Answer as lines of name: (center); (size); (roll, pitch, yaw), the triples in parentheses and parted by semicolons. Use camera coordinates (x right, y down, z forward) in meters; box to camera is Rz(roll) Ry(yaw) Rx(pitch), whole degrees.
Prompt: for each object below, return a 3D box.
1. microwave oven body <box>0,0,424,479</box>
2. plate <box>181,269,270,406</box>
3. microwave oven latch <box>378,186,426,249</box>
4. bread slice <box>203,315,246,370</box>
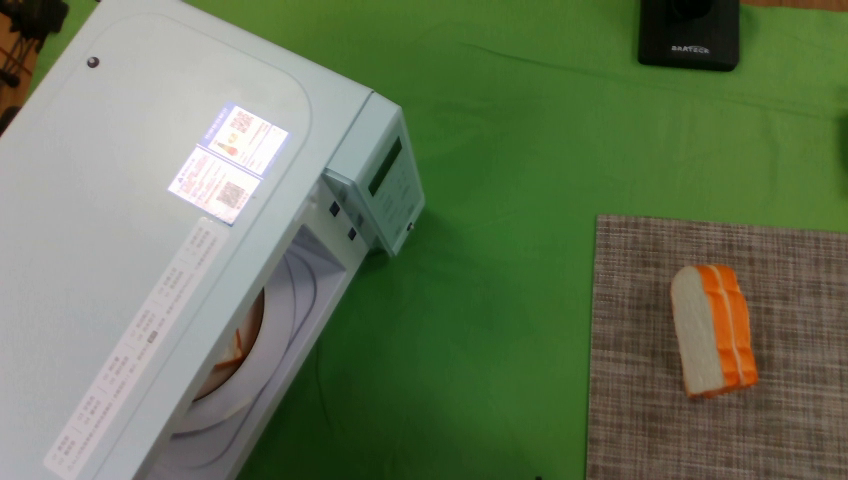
microwave oven body: (-0.250, 0.029, 0.607); (0.325, 0.261, 0.440); (27, 79, 11)
plate: (-0.264, 0.073, 0.648); (0.207, 0.039, 0.206); (-1, 75, 3)
microwave oven latch: (-0.026, -0.030, 0.704); (0.030, 0.029, 0.079); (28, 80, 11)
bread slice: (-0.262, 0.098, 0.646); (0.134, 0.018, 0.106); (-18, 72, -7)
